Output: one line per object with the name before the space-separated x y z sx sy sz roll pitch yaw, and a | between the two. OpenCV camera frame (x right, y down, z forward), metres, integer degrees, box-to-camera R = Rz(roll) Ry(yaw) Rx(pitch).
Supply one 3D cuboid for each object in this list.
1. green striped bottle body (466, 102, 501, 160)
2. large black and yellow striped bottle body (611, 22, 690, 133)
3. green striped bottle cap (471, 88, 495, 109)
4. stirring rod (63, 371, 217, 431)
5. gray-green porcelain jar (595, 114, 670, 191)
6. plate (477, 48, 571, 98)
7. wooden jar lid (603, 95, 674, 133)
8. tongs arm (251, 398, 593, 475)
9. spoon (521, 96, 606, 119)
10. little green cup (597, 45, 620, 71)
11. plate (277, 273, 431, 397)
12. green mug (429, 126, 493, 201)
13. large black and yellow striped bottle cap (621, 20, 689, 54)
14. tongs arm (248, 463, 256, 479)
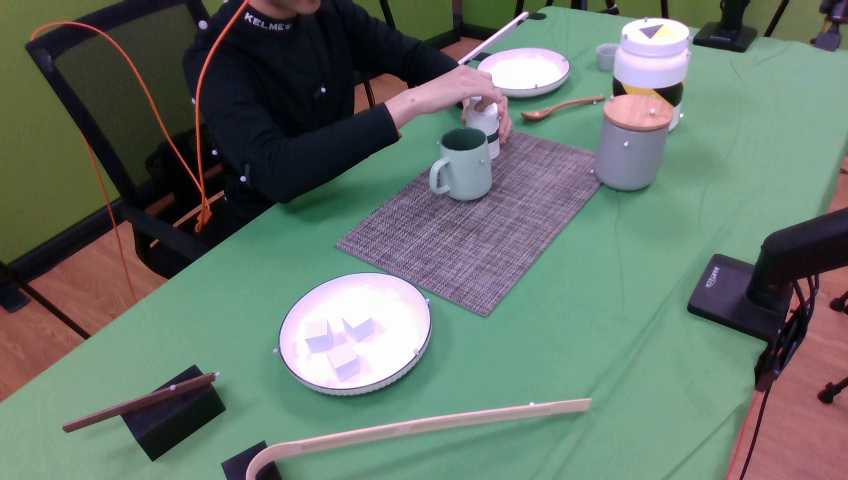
green striped bottle body | 0.110 -0.212 1.120 0.063 0.120 0.063 -4 41 4
large black and yellow striped bottle body | 0.421 -0.299 1.132 0.131 0.185 0.130 -4 40 4
green striped bottle cap | 0.106 -0.254 1.084 0.044 0.020 0.044 -3 44 4
stirring rod | -0.337 0.192 0.723 0.177 0.014 0.005 -18 43 -12
gray-green porcelain jar | 0.347 -0.155 1.017 0.106 0.127 0.105 -2 44 2
plate | 0.223 -0.371 1.357 0.209 0.038 0.208 -4 41 4
wooden jar lid | 0.343 -0.200 0.974 0.108 0.021 0.108 -2 39 2
tongs arm | 0.008 0.213 0.675 0.389 0.028 0.028 -5 46 -11
spoon | 0.291 -0.277 1.249 0.194 0.022 0.041 -18 23 -11
little green cup | 0.423 -0.413 1.376 0.061 0.039 0.061 -4 41 4
plate | -0.091 0.129 0.821 0.207 0.039 0.206 -4 40 4
green mug | 0.060 -0.122 1.034 0.126 0.105 0.091 -35 49 -27
large black and yellow striped bottle cap | 0.411 -0.363 1.080 0.115 0.019 0.114 -3 42 4
tongs arm | 0.012 0.262 0.615 0.385 0.026 0.050 2 41 -2
